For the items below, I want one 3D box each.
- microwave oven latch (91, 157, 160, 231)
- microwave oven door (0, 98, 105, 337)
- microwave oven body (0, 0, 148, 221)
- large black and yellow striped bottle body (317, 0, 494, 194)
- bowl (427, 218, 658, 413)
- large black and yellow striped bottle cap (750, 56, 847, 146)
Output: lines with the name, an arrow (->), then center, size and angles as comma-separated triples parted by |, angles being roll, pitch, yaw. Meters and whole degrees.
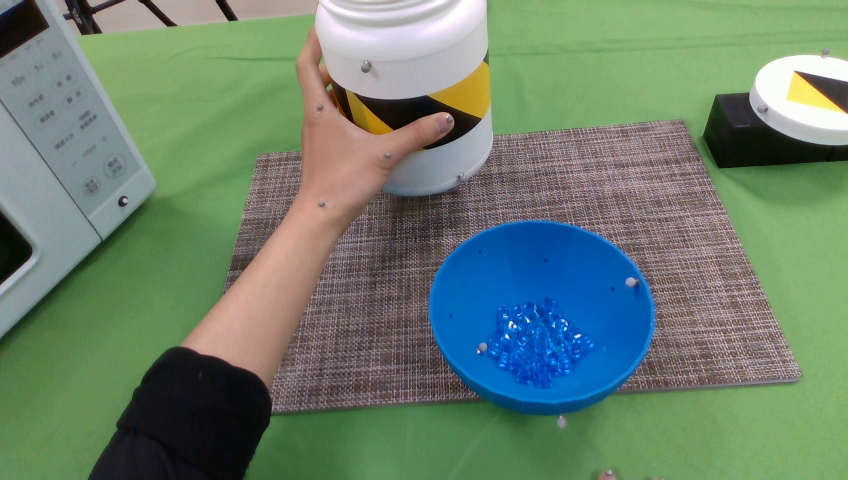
microwave oven latch -> -0.291, -0.047, 0.580 | 0.030, 0.030, 0.079 | 20, 55, 21
microwave oven door -> -0.400, 0.039, 0.382 | 0.039, 0.246, 0.354 | 18, 53, 21
microwave oven body -> -0.510, -0.029, 0.459 | 0.324, 0.263, 0.439 | 18, 54, 20
large black and yellow striped bottle body -> -0.012, -0.143, 0.494 | 0.130, 0.186, 0.129 | -4, 49, 5
bowl -> 0.080, 0.065, 0.435 | 0.151, 0.077, 0.150 | -3, 49, 4
large black and yellow striped bottle cap -> 0.361, -0.129, 0.551 | 0.115, 0.019, 0.114 | -4, 48, 5
